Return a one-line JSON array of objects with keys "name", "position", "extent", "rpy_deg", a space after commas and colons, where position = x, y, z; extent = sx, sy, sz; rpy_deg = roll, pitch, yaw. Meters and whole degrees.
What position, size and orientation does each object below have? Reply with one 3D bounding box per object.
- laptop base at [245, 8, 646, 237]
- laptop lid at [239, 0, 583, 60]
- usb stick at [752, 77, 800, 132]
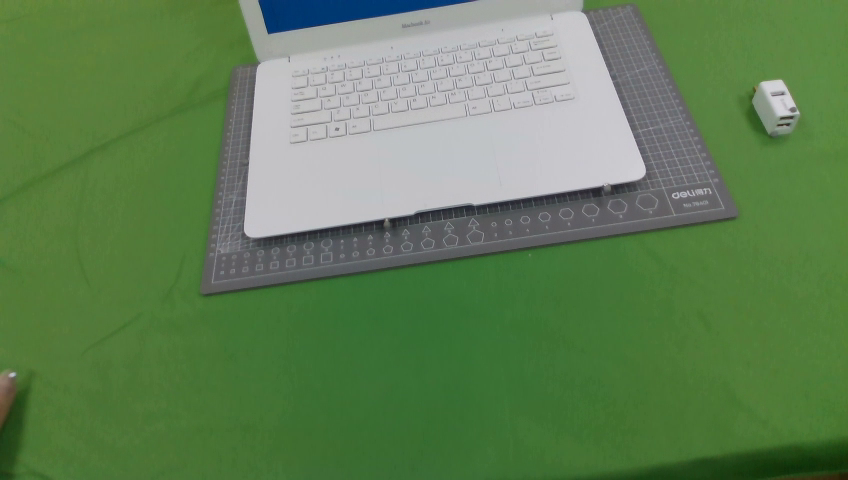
[{"name": "laptop base", "position": [0.007, -0.120, 0.588], "extent": [0.354, 0.023, 0.233], "rpy_deg": [-9, 58, 2]}, {"name": "laptop lid", "position": [-0.022, -0.308, 0.583], "extent": [0.357, 0.244, 0.013], "rpy_deg": [-10, 37, 3]}, {"name": "usb stick", "position": [0.314, -0.127, 0.545], "extent": [0.021, 0.027, 0.058], "rpy_deg": [-6, 52, 5]}]
